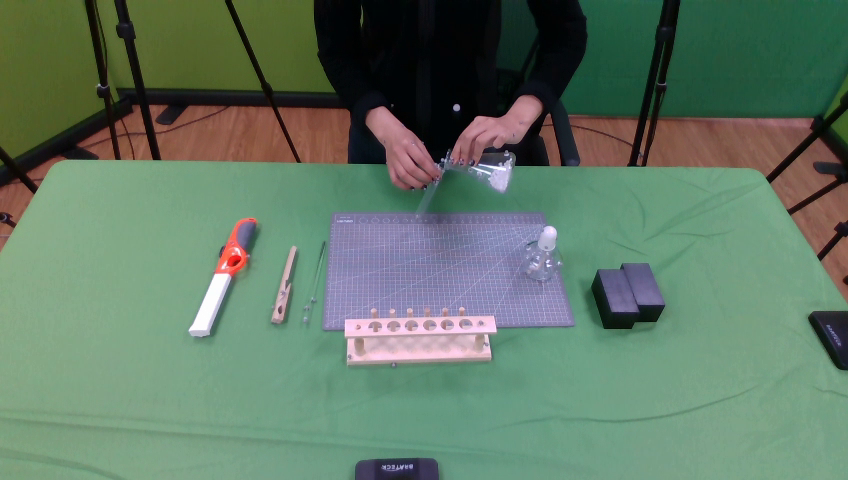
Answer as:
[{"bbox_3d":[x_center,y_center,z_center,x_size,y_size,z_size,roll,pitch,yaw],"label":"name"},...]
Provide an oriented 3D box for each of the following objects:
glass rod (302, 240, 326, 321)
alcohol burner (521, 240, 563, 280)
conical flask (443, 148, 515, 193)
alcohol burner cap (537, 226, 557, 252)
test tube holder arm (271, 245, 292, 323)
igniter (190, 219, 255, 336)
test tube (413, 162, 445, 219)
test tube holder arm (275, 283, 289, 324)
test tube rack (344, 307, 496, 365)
[{"bbox_3d":[-0.203,0.071,1.123,0.008,0.008,0.198,5,44,1],"label":"glass rod"},{"bbox_3d":[0.224,0.020,1.131,0.078,0.119,0.077,4,46,-4],"label":"alcohol burner"},{"bbox_3d":[0.097,-0.132,1.081,0.122,0.075,0.075,14,47,4],"label":"conical flask"},{"bbox_3d":[0.226,-0.004,1.104,0.034,0.048,0.033,0,50,1],"label":"alcohol burner cap"},{"bbox_3d":[-0.259,0.076,1.106,0.013,0.015,0.177,28,38,-28],"label":"test tube holder arm"},{"bbox_3d":[-0.365,0.058,1.110,0.057,0.025,0.275,-1,45,8],"label":"igniter"},{"bbox_3d":[0.009,-0.091,1.150,0.017,0.150,0.017,12,49,-14],"label":"test tube"},{"bbox_3d":[-0.254,0.110,1.077,0.010,0.015,0.087,29,38,-27],"label":"test tube holder arm"},{"bbox_3d":[-0.009,0.154,1.007,0.242,0.085,0.066,-1,46,-5],"label":"test tube rack"}]
